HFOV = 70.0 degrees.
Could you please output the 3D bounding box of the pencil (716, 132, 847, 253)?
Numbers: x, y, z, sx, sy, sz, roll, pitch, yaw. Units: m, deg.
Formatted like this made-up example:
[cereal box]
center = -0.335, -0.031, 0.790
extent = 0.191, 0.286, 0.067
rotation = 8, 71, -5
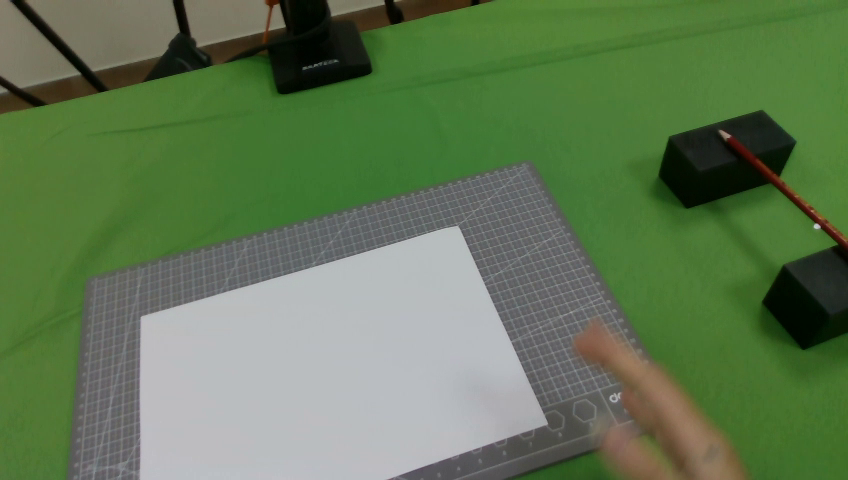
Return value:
[pencil]
center = 0.305, -0.034, 0.501
extent = 0.012, 0.012, 0.192
rotation = -19, 49, -9
